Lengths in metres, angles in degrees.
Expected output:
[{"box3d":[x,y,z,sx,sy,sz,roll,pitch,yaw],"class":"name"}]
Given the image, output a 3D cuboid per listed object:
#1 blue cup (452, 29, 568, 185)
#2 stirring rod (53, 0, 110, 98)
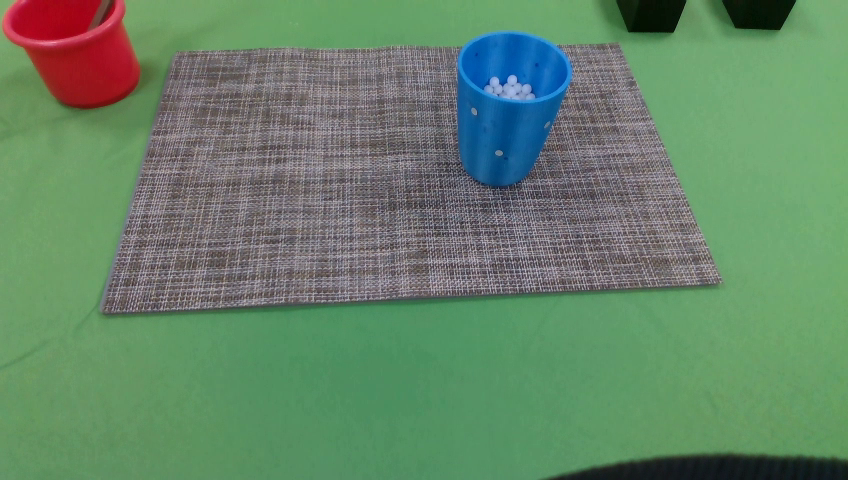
[{"box3d":[0.061,-0.099,0.483,0.093,0.101,0.091,2,53,-2],"class":"blue cup"},{"box3d":[-0.284,-0.202,0.529,0.014,0.006,0.176,38,102,28],"class":"stirring rod"}]
